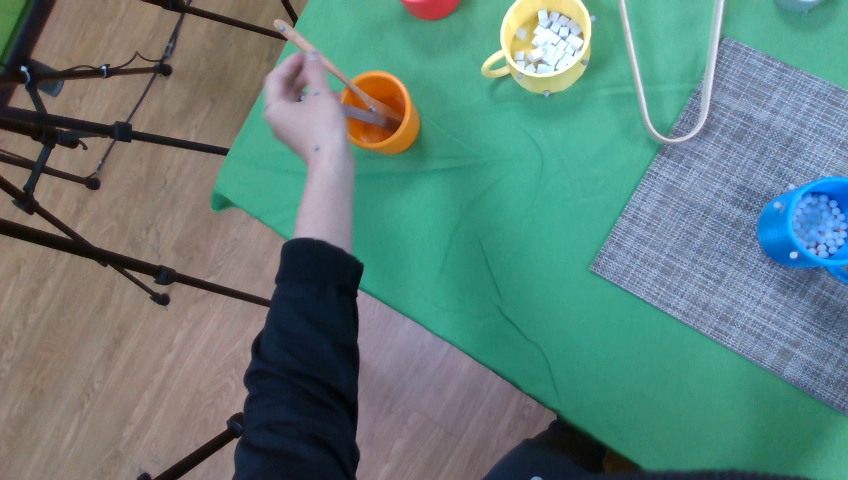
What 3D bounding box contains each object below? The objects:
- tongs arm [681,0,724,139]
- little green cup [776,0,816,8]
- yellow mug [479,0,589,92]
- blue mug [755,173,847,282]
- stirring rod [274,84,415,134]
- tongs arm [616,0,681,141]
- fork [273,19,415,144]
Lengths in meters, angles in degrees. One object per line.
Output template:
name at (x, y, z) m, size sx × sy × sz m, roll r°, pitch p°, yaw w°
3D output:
tongs arm at (0.314, -0.304, 0.657) m, size 0.028 × 0.028 × 0.388 m, roll 5°, pitch 96°, yaw 6°
little green cup at (0.407, -0.281, 0.650) m, size 0.061 × 0.039 × 0.061 m, roll 0°, pitch 89°, yaw 14°
yellow mug at (0.125, -0.223, 0.703) m, size 0.131 × 0.064 × 0.099 m, roll -23°, pitch 83°, yaw 13°
blue mug at (0.398, -0.004, 0.602) m, size 0.082 × 0.106 × 0.116 m, roll -35°, pitch 80°, yaw 10°
stirring rod at (-0.090, -0.153, 0.714) m, size 0.177 × 0.006 × 0.014 m, roll 11°, pitch 85°, yaw -26°
tongs arm at (0.232, -0.298, 0.674) m, size 0.050 × 0.026 × 0.385 m, roll -9°, pitch 93°, yaw 10°
fork at (-0.090, -0.183, 0.710) m, size 0.209 × 0.018 × 0.028 m, roll 37°, pitch 94°, yaw -31°
